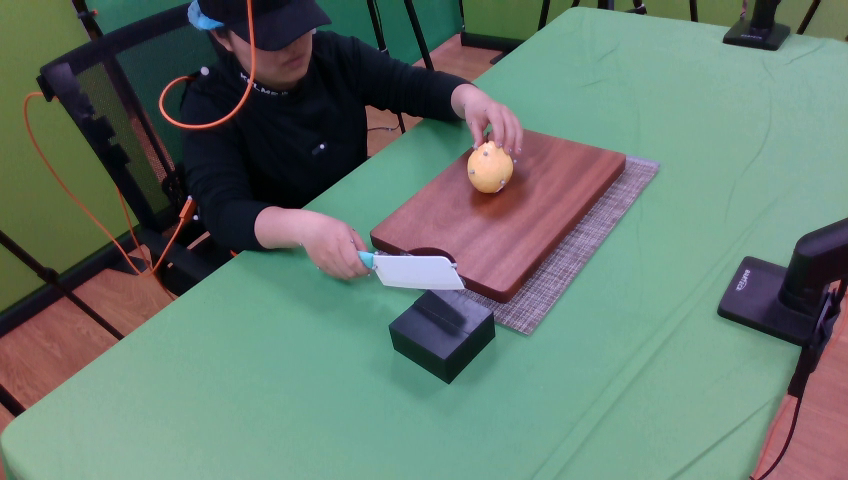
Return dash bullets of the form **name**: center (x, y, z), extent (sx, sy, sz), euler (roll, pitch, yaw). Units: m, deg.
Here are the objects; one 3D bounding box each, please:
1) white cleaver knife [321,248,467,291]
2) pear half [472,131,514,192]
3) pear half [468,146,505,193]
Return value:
- **white cleaver knife**: center (-0.056, 0.045, 0.876), extent (0.284, 0.066, 0.021), euler (2, 35, 45)
- **pear half**: center (0.118, -0.141, 1.019), extent (0.076, 0.110, 0.056), euler (18, 48, 23)
- **pear half**: center (0.099, -0.113, 1.004), extent (0.070, 0.088, 0.031), euler (21, 48, 20)
